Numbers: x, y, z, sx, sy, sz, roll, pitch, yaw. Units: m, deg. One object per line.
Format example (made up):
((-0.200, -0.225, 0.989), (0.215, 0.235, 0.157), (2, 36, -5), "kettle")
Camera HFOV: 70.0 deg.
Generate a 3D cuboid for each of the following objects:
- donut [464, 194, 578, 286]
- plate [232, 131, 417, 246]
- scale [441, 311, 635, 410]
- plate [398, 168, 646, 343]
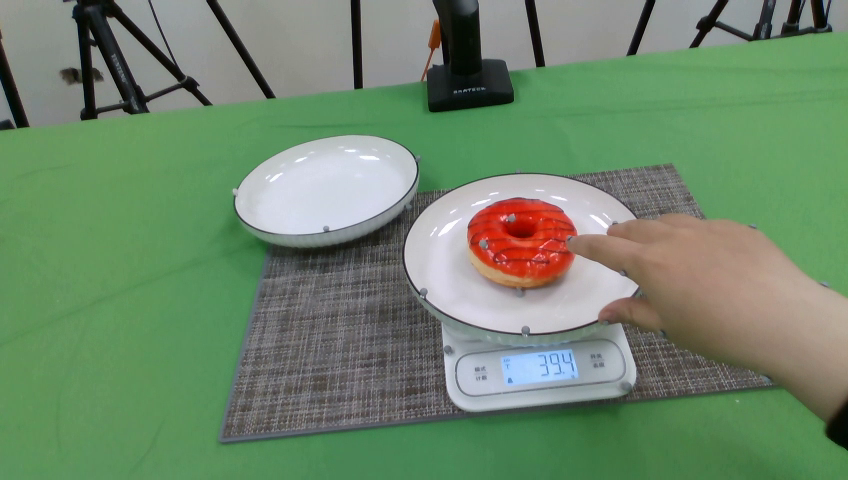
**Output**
((0.083, 0.000, 0.523), (0.099, 0.049, 0.098), (-2, 42, 2), "donut")
((-0.109, -0.057, 0.688), (0.209, 0.038, 0.207), (-6, 39, 5), "plate")
((0.087, 0.052, 0.531), (0.148, 0.032, 0.199), (-7, 41, 3), "scale")
((0.082, 0.012, 0.527), (0.207, 0.039, 0.205), (-4, 41, 4), "plate")
